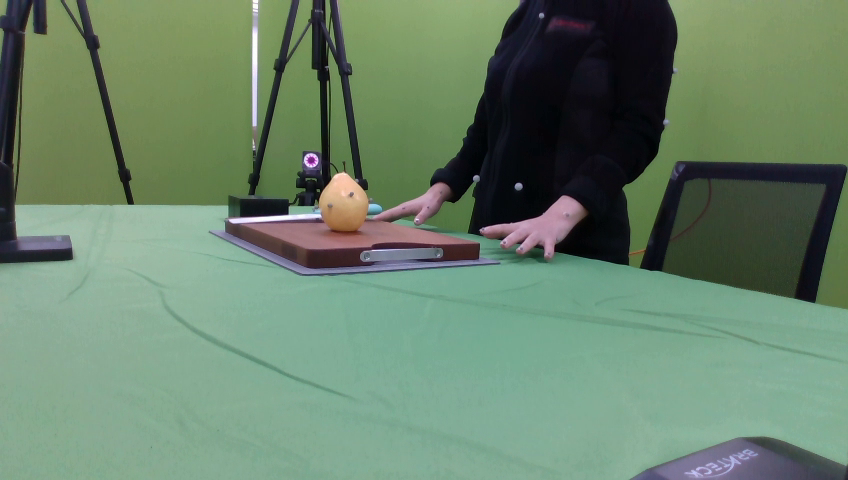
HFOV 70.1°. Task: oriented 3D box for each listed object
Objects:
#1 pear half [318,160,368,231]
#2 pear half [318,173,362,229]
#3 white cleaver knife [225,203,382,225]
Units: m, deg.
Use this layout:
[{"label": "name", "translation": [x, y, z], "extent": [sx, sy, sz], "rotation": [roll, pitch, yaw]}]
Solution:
[{"label": "pear half", "translation": [-0.120, -0.067, 0.927], "extent": [0.077, 0.110, 0.055], "rotation": [-7, 11, -29]}, {"label": "pear half", "translation": [-0.136, -0.062, 0.959], "extent": [0.071, 0.088, 0.031], "rotation": [-7, 10, -29]}, {"label": "white cleaver knife", "translation": [-0.202, -0.040, 1.069], "extent": [0.288, 0.021, 0.065], "rotation": [-8, 17, -32]}]
